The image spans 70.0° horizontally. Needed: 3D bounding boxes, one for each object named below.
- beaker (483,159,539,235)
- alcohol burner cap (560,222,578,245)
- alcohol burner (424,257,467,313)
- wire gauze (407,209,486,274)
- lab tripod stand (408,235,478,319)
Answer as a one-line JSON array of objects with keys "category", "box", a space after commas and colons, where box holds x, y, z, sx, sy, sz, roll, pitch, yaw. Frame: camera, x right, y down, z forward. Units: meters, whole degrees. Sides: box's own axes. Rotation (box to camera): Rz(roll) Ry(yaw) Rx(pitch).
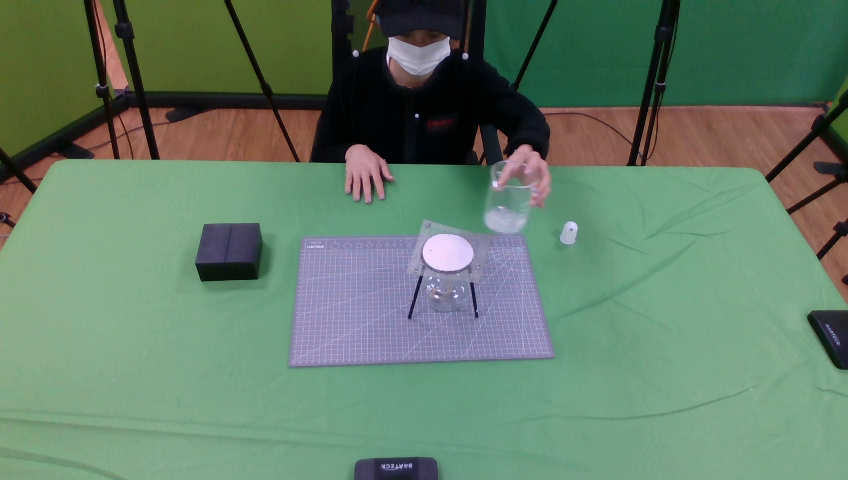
[{"category": "beaker", "box": [0.133, -0.064, 0.960, 0.073, 0.101, 0.084, 33, 47, 28]}, {"category": "alcohol burner cap", "box": [0.295, -0.016, 1.224, 0.034, 0.048, 0.033, 1, 47, -1]}, {"category": "alcohol burner", "box": [0.038, 0.072, 1.064, 0.078, 0.120, 0.077, 1, 47, -1]}, {"category": "wire gauze", "box": [0.036, 0.003, 1.001, 0.125, 0.011, 0.120, -7, 52, -1]}, {"category": "lab tripod stand", "box": [0.032, 0.065, 1.057, 0.148, 0.132, 0.147, 1, 45, -1]}]
